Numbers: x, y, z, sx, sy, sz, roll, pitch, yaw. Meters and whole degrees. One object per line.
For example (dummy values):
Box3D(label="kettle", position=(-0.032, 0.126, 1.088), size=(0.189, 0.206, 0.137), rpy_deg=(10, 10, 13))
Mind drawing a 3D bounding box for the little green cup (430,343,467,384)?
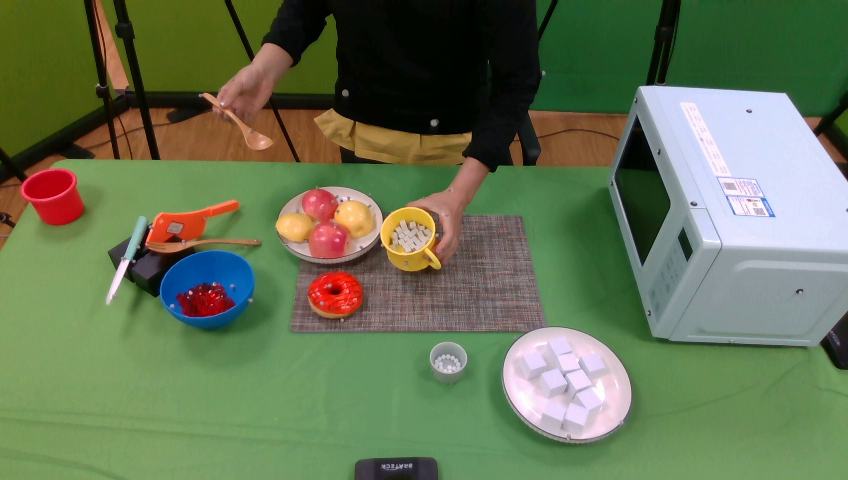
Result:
Box3D(label="little green cup", position=(0.039, 0.203, 0.993), size=(0.061, 0.039, 0.061), rpy_deg=(2, 46, -2))

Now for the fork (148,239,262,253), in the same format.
Box3D(label="fork", position=(-0.398, 0.008, 1.117), size=(0.208, 0.019, 0.028), rpy_deg=(-5, 35, -37))

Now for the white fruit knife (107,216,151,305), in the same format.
Box3D(label="white fruit knife", position=(-0.518, 0.032, 1.067), size=(0.027, 0.016, 0.206), rpy_deg=(-19, 45, 19))

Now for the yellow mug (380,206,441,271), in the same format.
Box3D(label="yellow mug", position=(-0.015, 0.007, 1.090), size=(0.100, 0.064, 0.130), rpy_deg=(-41, 64, -13))

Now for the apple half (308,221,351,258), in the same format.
Box3D(label="apple half", position=(-0.180, -0.005, 1.150), size=(0.074, 0.053, 0.080), rpy_deg=(14, 43, 9))

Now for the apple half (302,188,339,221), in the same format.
Box3D(label="apple half", position=(-0.205, -0.076, 1.217), size=(0.081, 0.033, 0.081), rpy_deg=(18, 46, -19))

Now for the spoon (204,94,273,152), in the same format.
Box3D(label="spoon", position=(-0.348, -0.221, 1.125), size=(0.041, 0.022, 0.193), rpy_deg=(-37, 69, -28))

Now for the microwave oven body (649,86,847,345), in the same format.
Box3D(label="microwave oven body", position=(0.568, -0.053, 1.118), size=(0.326, 0.261, 0.439), rpy_deg=(2, 45, -1))

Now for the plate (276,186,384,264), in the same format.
Box3D(label="plate", position=(-0.184, -0.027, 1.195), size=(0.209, 0.038, 0.208), rpy_deg=(2, 46, -2))

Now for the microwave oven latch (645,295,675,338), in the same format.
Box3D(label="microwave oven latch", position=(0.412, 0.134, 1.061), size=(0.030, 0.029, 0.078), rpy_deg=(3, 45, 0))

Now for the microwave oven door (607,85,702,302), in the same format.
Box3D(label="microwave oven door", position=(0.423, -0.094, 1.140), size=(0.039, 0.245, 0.353), rpy_deg=(2, 46, -1))

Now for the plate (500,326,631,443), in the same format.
Box3D(label="plate", position=(0.224, 0.234, 0.978), size=(0.208, 0.039, 0.206), rpy_deg=(2, 46, -2))

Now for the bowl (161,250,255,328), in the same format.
Box3D(label="bowl", position=(-0.362, 0.097, 1.040), size=(0.151, 0.077, 0.150), rpy_deg=(2, 45, -2))

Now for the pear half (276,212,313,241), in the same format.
Box3D(label="pear half", position=(-0.245, -0.035, 1.178), size=(0.070, 0.031, 0.088), rpy_deg=(40, 41, 1))

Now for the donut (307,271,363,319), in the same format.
Box3D(label="donut", position=(-0.157, 0.097, 1.073), size=(0.099, 0.048, 0.098), rpy_deg=(4, 45, -4))

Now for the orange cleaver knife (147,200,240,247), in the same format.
Box3D(label="orange cleaver knife", position=(-0.435, -0.033, 1.157), size=(0.012, 0.077, 0.211), rpy_deg=(31, 26, 18))

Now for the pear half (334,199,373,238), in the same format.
Box3D(label="pear half", position=(-0.147, -0.059, 1.210), size=(0.076, 0.056, 0.109), rpy_deg=(-16, 45, -25))
